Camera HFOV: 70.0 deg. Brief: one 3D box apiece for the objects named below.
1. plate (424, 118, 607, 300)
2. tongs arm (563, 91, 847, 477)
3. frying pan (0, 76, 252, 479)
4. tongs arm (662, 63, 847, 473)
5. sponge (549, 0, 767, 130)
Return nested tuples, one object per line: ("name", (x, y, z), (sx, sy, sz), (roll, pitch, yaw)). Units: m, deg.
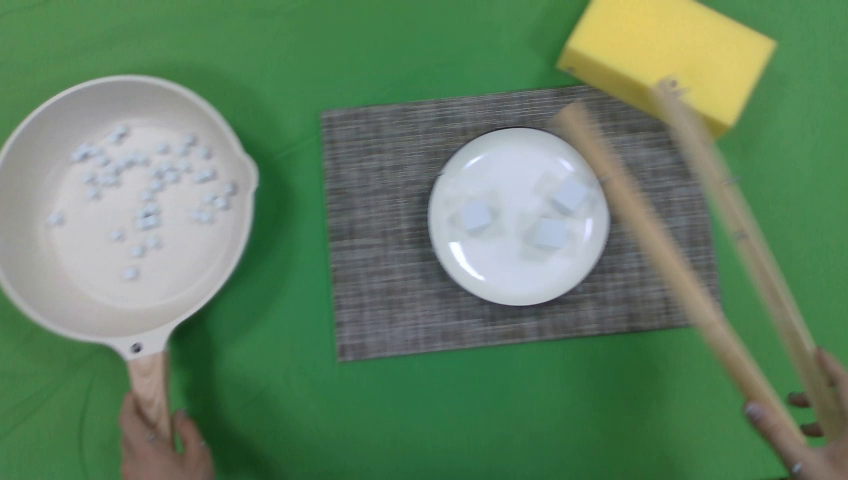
("plate", (0.103, -0.035, 0.700), (0.208, 0.039, 0.207), (0, 84, 0))
("tongs arm", (0.231, 0.040, 0.509), (0.028, 0.028, 0.387), (-31, 87, -36))
("frying pan", (-0.311, 0.062, 0.661), (0.307, 0.103, 0.485), (-14, 76, -1))
("tongs arm", (0.292, 0.016, 0.547), (0.051, 0.026, 0.383), (-18, 81, -31))
("sponge", (0.268, -0.223, 0.709), (0.206, 0.061, 0.118), (27, 83, 4))
